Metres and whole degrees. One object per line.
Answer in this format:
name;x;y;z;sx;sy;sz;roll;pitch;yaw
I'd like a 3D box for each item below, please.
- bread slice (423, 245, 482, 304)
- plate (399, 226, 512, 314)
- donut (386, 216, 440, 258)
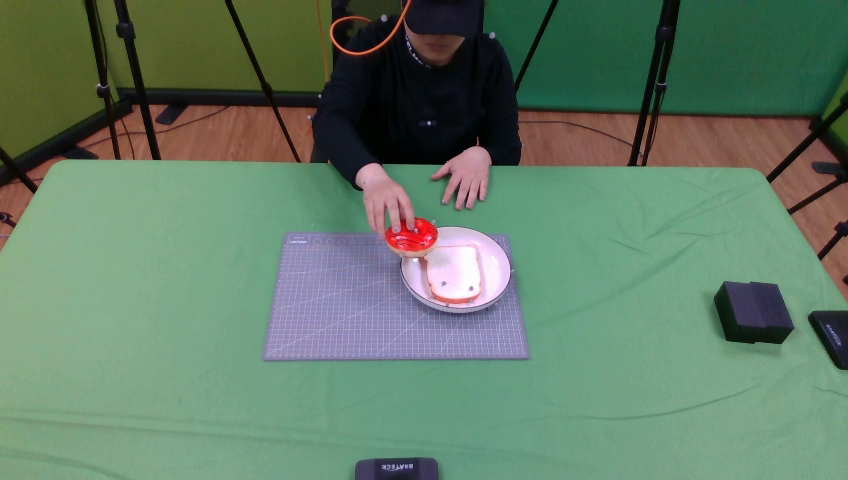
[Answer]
bread slice;0.056;0.063;1.131;0.107;0.018;0.133;-5;46;-8
plate;0.057;0.058;1.134;0.209;0.038;0.208;2;46;-2
donut;-0.021;-0.007;1.099;0.099;0.048;0.098;0;38;0
